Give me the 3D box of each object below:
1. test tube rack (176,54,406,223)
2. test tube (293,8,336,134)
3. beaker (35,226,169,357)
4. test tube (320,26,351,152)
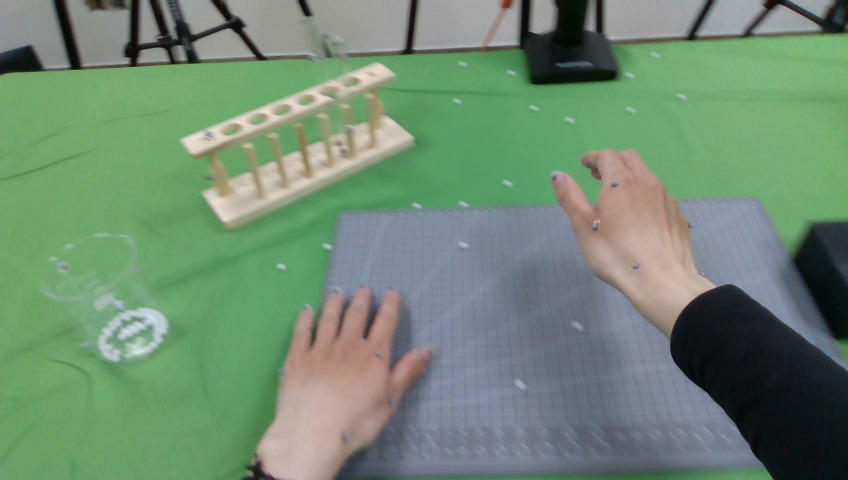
[{"bbox_3d":[-0.140,-0.120,0.688,0.242,0.086,0.066,-29,51,-22],"label":"test tube rack"},{"bbox_3d":[-0.121,-0.184,0.679,0.017,0.152,0.017,-4,44,4],"label":"test tube"},{"bbox_3d":[-0.272,0.047,0.529,0.073,0.101,0.083,18,50,20],"label":"beaker"},{"bbox_3d":[-0.096,-0.160,0.661,0.017,0.152,0.017,-1,45,1],"label":"test tube"}]
